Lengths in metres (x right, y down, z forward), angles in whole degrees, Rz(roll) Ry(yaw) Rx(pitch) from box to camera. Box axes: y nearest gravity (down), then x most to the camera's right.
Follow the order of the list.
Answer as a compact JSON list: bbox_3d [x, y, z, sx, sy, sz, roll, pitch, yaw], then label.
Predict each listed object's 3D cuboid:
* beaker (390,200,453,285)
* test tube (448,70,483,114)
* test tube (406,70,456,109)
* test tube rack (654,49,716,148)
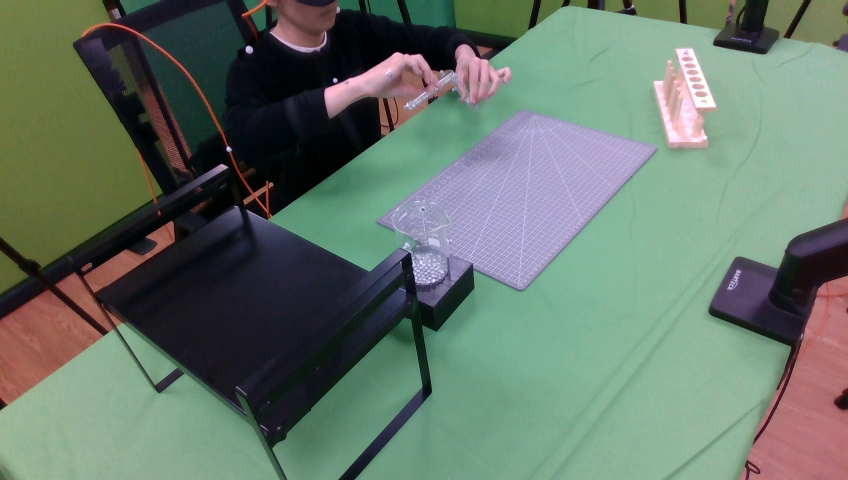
[{"bbox_3d":[0.002,0.006,0.831,0.084,0.101,0.074,5,42,13],"label":"beaker"},{"bbox_3d":[0.079,-0.272,1.126,0.017,0.152,0.017,-8,71,24],"label":"test tube"},{"bbox_3d":[0.013,-0.252,1.010,0.017,0.017,0.150,17,41,26],"label":"test tube"},{"bbox_3d":[0.502,-0.281,1.176,0.066,0.085,0.241,1,41,11],"label":"test tube rack"}]
